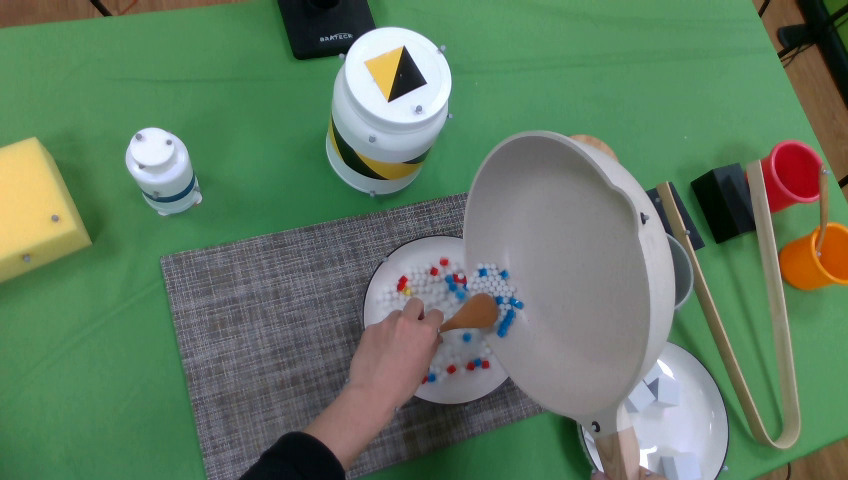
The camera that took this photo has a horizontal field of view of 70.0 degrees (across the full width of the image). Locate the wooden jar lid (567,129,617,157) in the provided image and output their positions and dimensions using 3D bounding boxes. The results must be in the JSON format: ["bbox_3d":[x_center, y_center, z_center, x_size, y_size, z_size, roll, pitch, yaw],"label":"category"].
[{"bbox_3d":[0.226,-0.105,0.862,0.109,0.021,0.108,4,75,-13],"label":"wooden jar lid"}]

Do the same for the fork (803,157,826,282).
[{"bbox_3d":[0.551,-0.024,0.849,0.028,0.018,0.209,-27,126,-12],"label":"fork"}]

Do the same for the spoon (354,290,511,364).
[{"bbox_3d":[0.014,0.100,0.673,0.194,0.021,0.042,-18,111,-13],"label":"spoon"}]

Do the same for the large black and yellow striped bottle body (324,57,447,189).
[{"bbox_3d":[-0.048,-0.152,0.721,0.131,0.184,0.130,4,73,-12],"label":"large black and yellow striped bottle body"}]

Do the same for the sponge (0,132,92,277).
[{"bbox_3d":[-0.485,-0.016,0.638,0.207,0.061,0.118,-28,82,-20],"label":"sponge"}]

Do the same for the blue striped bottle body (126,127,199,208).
[{"bbox_3d":[-0.290,-0.084,0.674,0.063,0.121,0.062,4,73,-13],"label":"blue striped bottle body"}]

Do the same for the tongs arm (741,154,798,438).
[{"bbox_3d":[0.473,0.073,0.834,0.028,0.027,0.386,-4,85,-23],"label":"tongs arm"}]

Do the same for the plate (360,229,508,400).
[{"bbox_3d":[0.023,0.089,0.742,0.210,0.038,0.208,4,74,-12],"label":"plate"}]

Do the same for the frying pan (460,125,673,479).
[{"bbox_3d":[0.160,0.121,0.594,0.103,0.307,0.484,-3,68,-23],"label":"frying pan"}]

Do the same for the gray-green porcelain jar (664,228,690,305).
[{"bbox_3d":[0.253,0.046,0.768,0.106,0.127,0.105,4,73,-12],"label":"gray-green porcelain jar"}]

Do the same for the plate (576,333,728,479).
[{"bbox_3d":[0.286,0.219,0.774,0.208,0.039,0.206,4,73,-12],"label":"plate"}]

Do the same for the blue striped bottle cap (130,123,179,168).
[{"bbox_3d":[-0.279,-0.098,0.626,0.045,0.021,0.044,4,71,-10],"label":"blue striped bottle cap"}]

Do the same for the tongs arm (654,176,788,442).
[{"bbox_3d":[0.395,0.092,0.807,0.051,0.026,0.384,-19,89,-20],"label":"tongs arm"}]

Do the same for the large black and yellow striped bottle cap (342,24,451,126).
[{"bbox_3d":[-0.029,-0.176,0.641,0.115,0.019,0.114,4,72,-12],"label":"large black and yellow striped bottle cap"}]
